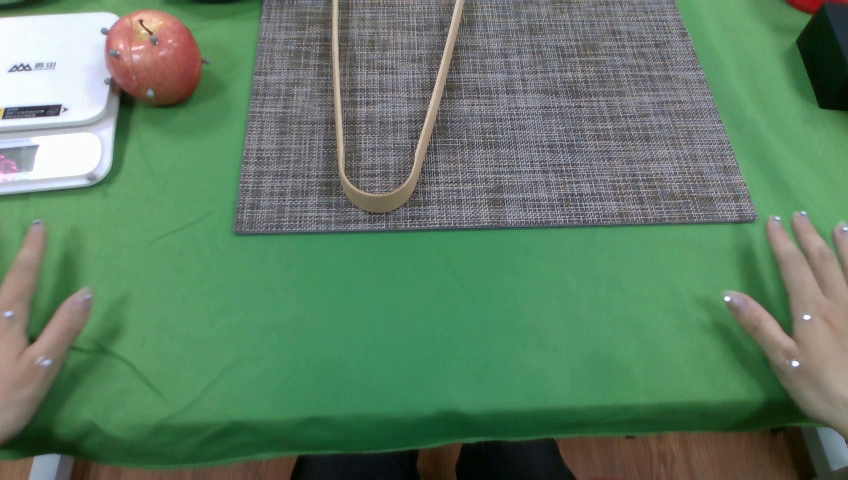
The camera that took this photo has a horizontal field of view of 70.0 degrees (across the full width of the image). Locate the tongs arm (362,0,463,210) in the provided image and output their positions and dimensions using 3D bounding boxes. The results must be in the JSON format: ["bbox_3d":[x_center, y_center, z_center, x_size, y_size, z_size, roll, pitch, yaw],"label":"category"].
[{"bbox_3d":[0.004,-0.192,0.601,0.051,0.027,0.382,9,60,2],"label":"tongs arm"}]

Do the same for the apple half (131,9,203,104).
[{"bbox_3d":[-0.232,-0.167,0.557,0.053,0.075,0.080,-9,56,-10],"label":"apple half"}]

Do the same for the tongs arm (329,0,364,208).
[{"bbox_3d":[-0.081,-0.197,0.602,0.028,0.028,0.384,-1,60,-8],"label":"tongs arm"}]

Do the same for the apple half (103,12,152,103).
[{"bbox_3d":[-0.270,-0.161,0.551,0.033,0.082,0.080,-9,60,-11],"label":"apple half"}]

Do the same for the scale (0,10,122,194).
[{"bbox_3d":[-0.356,-0.131,0.555,0.149,0.032,0.199,-6,60,-5],"label":"scale"}]
